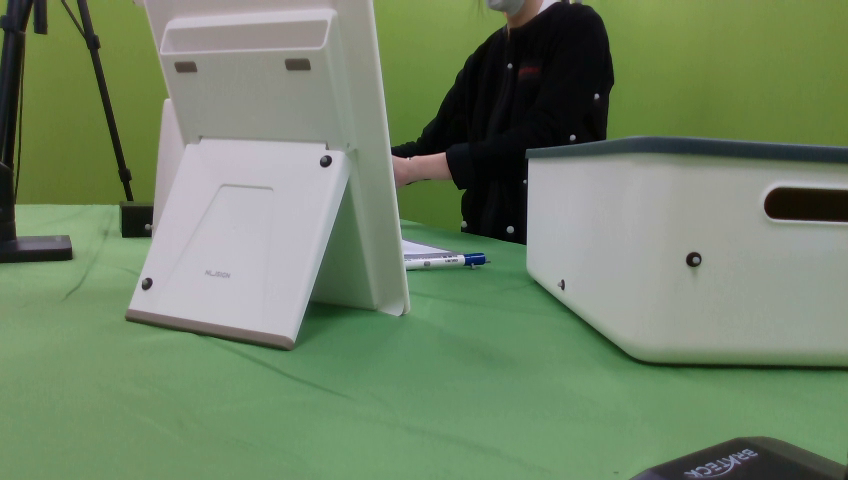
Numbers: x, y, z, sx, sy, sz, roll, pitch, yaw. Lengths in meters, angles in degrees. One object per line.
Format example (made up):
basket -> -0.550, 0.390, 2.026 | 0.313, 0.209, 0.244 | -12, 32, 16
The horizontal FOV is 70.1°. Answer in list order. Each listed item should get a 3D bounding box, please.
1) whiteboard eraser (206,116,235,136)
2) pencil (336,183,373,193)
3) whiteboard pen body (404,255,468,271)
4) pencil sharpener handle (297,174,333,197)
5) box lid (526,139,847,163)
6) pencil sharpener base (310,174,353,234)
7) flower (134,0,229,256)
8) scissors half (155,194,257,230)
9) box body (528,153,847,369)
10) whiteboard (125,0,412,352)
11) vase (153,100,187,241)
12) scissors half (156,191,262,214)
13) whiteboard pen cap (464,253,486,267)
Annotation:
whiteboard eraser -> -0.450, -0.252, 1.335 | 0.056, 0.042, 0.112 | 1, 7, -22
pencil -> -0.124, -0.087, 1.035 | 0.012, 0.012, 0.193 | -1, 2, -24
whiteboard pen body -> 0.013, 0.030, 0.792 | 0.141, 0.017, 0.017 | -3, 9, -24
pencil sharpener handle -> -0.212, -0.110, 1.172 | 0.068, 0.036, 0.030 | 29, -8, -30
box lid -> 0.261, -0.078, 0.580 | 0.264, 0.015, 0.371 | 2, 7, -4
pencil sharpener base -> -0.176, -0.070, 1.140 | 0.061, 0.107, 0.076 | -2, 8, -30
flower -> -0.282, -0.147, 0.713 | 0.038, 0.362, 0.044 | -23, 23, -31
scissors half -> -0.378, -0.051, 1.058 | 0.176, 0.040, 0.012 | 20, 22, -31
box body -> 0.258, -0.005, 0.591 | 0.254, 0.160, 0.363 | 2, 7, -4
whiteboard -> -0.151, -0.049, 0.472 | 0.216, 0.305, 0.144 | 6, 27, 24
vase -> -0.278, -0.066, 0.736 | 0.098, 0.200, 0.098 | 2, 9, 0
scissors half -> -0.371, -0.069, 1.051 | 0.176, 0.040, 0.013 | 2, 25, -24
whiteboard pen cap -> 0.066, 0.027, 0.818 | 0.033, 0.018, 0.018 | -6, 10, -24
